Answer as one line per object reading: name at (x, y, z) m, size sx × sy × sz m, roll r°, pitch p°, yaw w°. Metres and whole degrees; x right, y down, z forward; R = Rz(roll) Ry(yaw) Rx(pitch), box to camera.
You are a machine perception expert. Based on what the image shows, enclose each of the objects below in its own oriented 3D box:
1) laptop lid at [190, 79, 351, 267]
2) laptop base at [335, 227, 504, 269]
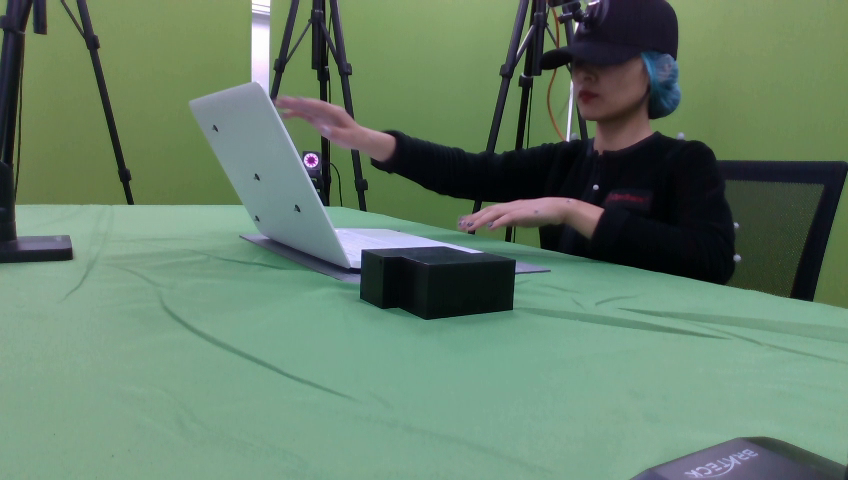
laptop lid at (-0.220, -0.087, 0.809) m, size 0.013 × 0.242 × 0.355 m, roll -34°, pitch 25°, yaw -24°
laptop base at (-0.077, 0.009, 0.914) m, size 0.237 × 0.023 × 0.352 m, roll 1°, pitch 7°, yaw -33°
